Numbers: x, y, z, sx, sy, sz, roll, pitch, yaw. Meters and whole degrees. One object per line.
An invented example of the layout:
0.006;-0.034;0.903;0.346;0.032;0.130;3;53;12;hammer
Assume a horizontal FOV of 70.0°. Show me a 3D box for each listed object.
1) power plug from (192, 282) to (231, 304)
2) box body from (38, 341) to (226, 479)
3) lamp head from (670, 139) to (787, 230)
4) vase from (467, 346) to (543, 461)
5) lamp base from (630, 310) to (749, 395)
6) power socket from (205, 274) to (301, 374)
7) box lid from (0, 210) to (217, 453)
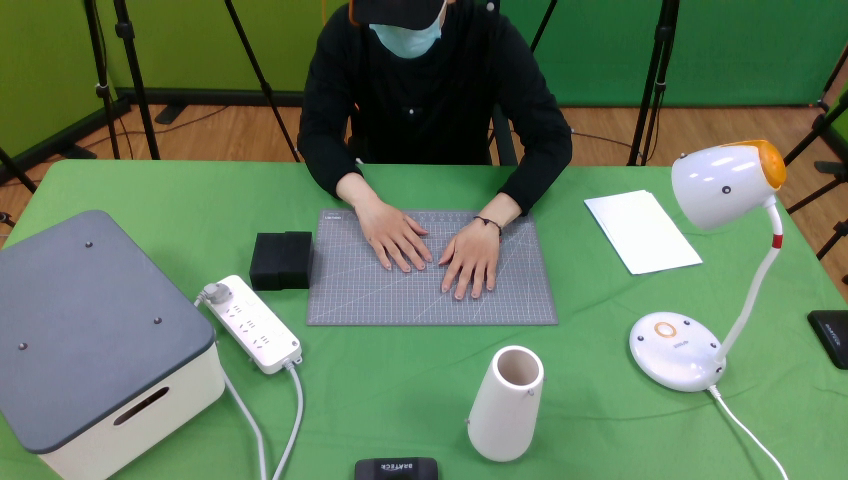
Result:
-0.368;0.097;1.039;0.072;0.053;0.035;-26;56;-20;power plug
-0.504;0.154;0.917;0.362;0.161;0.254;36;54;27;box body
0.415;-0.079;0.812;0.113;0.123;0.112;13;70;-37;lamp head
0.116;0.234;0.861;0.098;0.201;0.097;1;47;-1;vase
0.447;0.143;0.984;0.161;0.181;0.178;-24;55;-24;lamp base
-0.296;0.140;1.035;0.072;0.033;0.225;-32;57;-29;power socket
-0.502;0.102;0.865;0.369;0.015;0.263;36;54;27;box lid
